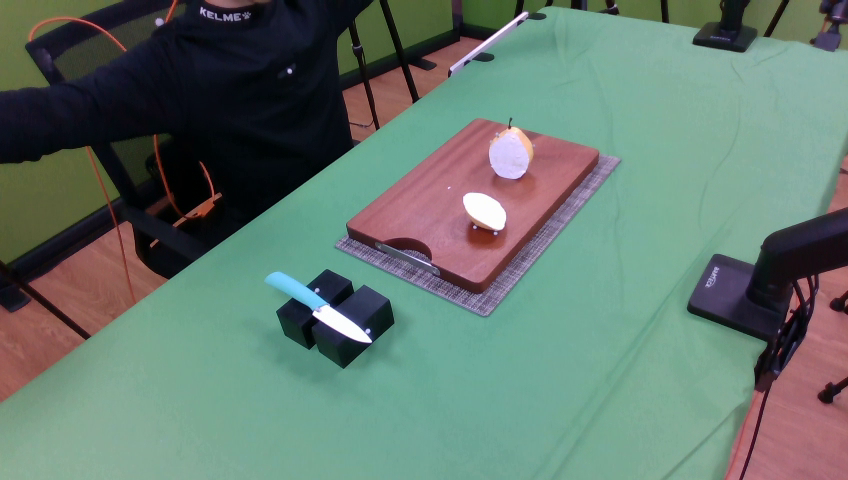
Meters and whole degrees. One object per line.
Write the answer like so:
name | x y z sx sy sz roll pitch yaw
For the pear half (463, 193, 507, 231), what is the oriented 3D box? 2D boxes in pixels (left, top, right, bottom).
pear half | 0.094 -0.038 0.947 0.071 0.031 0.087 -9 52 -25

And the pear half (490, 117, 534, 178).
pear half | 0.152 -0.165 1.028 0.076 0.110 0.056 11 44 15

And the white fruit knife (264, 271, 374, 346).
white fruit knife | -0.143 0.091 0.815 0.206 0.016 0.027 28 74 30
